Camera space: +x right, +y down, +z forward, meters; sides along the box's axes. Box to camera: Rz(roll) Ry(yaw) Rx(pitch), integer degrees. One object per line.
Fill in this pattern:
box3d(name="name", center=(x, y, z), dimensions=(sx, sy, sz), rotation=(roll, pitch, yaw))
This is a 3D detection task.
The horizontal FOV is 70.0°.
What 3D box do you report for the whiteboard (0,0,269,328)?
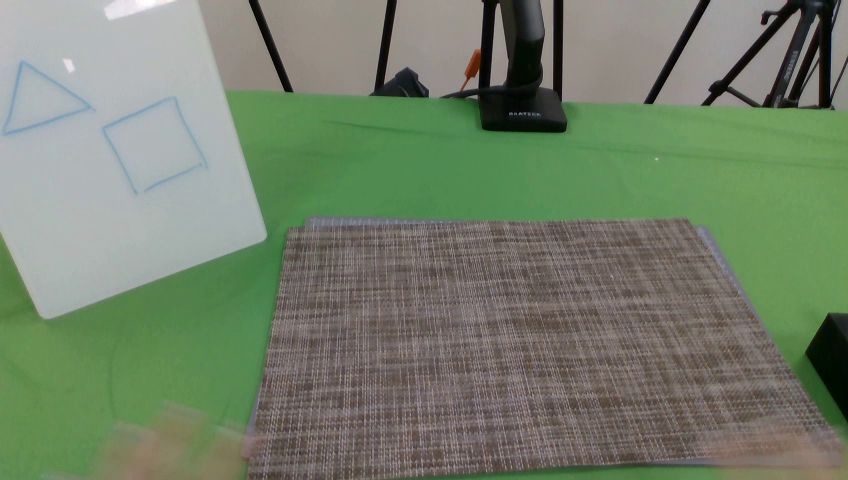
box3d(name="whiteboard", center=(-0.314, -0.113, 0.586), dimensions=(0.217, 0.307, 0.142), rotation=(-23, 25, -28))
